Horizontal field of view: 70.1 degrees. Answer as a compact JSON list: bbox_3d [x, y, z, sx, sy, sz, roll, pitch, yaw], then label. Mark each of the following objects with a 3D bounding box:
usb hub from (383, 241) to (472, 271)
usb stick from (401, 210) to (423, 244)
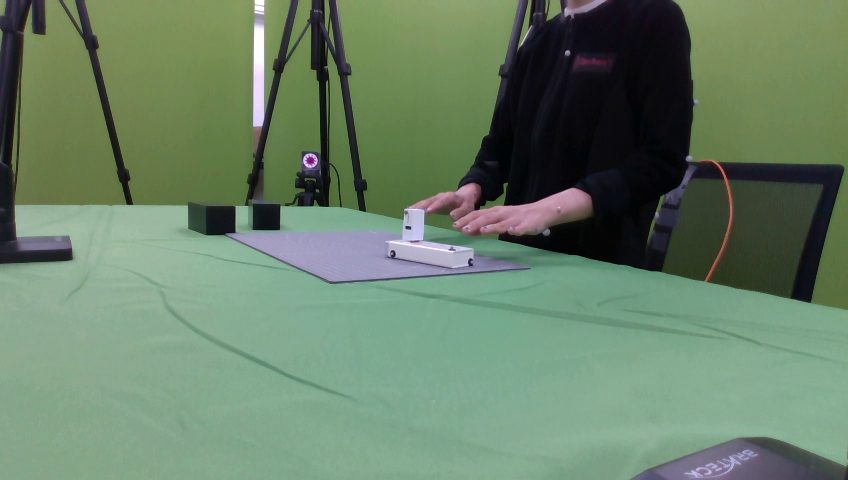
[{"bbox_3d":[0.003,0.020,0.842,0.124,0.025,0.050,8,9,39],"label":"usb hub"},{"bbox_3d":[-0.017,-0.012,0.861,0.021,0.059,0.027,10,12,36],"label":"usb stick"}]
